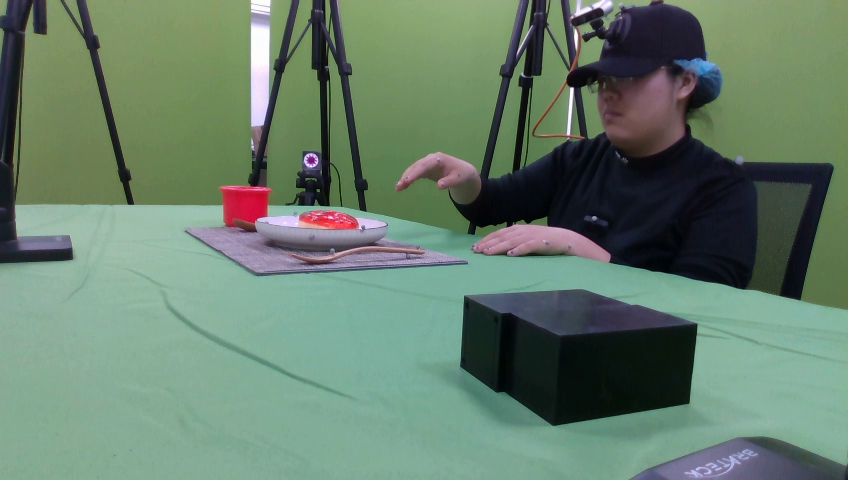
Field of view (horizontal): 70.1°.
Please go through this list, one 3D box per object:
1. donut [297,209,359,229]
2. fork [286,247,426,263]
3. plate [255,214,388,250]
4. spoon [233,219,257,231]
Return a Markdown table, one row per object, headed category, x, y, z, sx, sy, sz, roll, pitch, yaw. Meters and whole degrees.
| category | x | y | z | sx | sy | sz | roll | pitch | yaw |
| --- | --- | --- | --- | --- | --- | --- | --- | --- | --- |
| donut | -0.151 | -0.023 | 0.955 | 0.099 | 0.048 | 0.099 | 5 | 7 | 0 |
| fork | -0.084 | 0.019 | 0.813 | 0.208 | 0.018 | 0.028 | -4 | 3 | -34 |
| plate | -0.161 | -0.013 | 0.961 | 0.209 | 0.038 | 0.209 | 2 | 7 | 0 |
| spoon | -0.250 | -0.028 | 1.108 | 0.195 | 0.021 | 0.041 | -2 | -9 | -29 |
